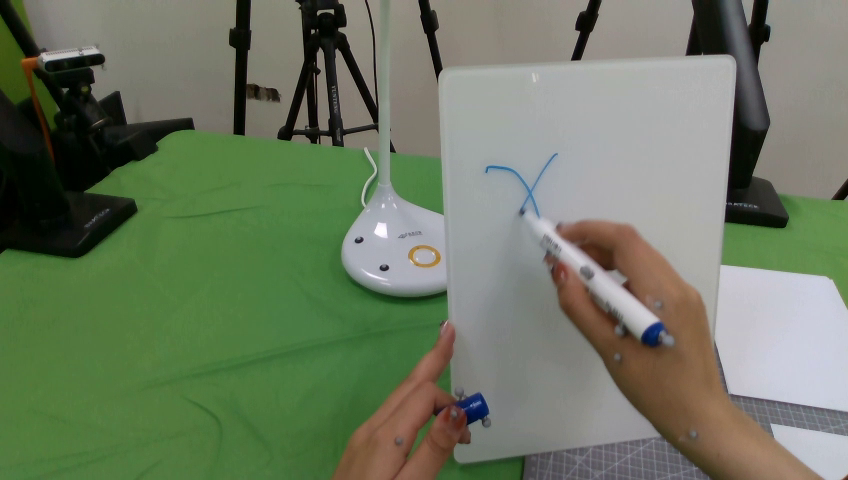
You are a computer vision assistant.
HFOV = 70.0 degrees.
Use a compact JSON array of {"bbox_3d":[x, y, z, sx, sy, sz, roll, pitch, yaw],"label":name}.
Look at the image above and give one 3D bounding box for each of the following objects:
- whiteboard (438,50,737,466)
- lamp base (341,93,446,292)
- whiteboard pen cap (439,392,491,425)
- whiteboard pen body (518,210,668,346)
[{"bbox_3d":[0.115,0.005,0.516,0.217,0.307,0.143,-5,15,-7],"label":"whiteboard"},{"bbox_3d":[-0.023,-0.061,0.671,0.161,0.182,0.177,-21,37,-29],"label":"lamp base"},{"bbox_3d":[0.028,0.110,0.397,0.033,0.018,0.018,-24,23,29],"label":"whiteboard pen cap"},{"bbox_3d":[0.099,0.017,0.382,0.017,0.017,0.139,-15,40,-22],"label":"whiteboard pen body"}]
